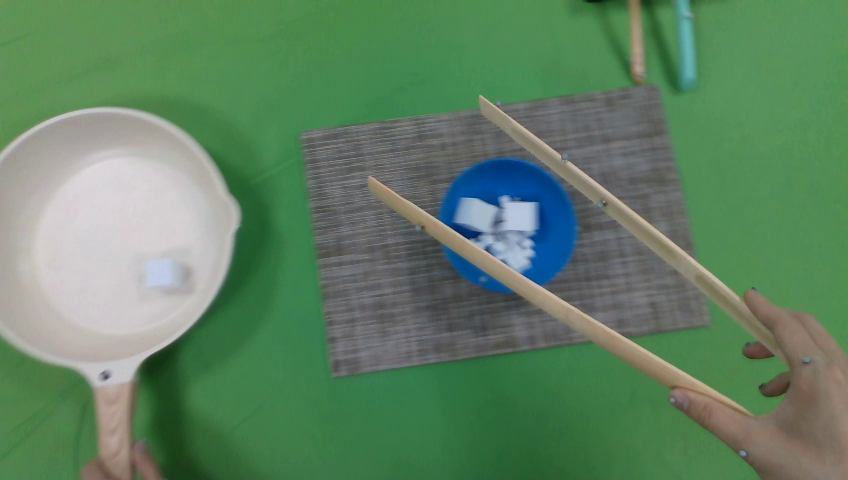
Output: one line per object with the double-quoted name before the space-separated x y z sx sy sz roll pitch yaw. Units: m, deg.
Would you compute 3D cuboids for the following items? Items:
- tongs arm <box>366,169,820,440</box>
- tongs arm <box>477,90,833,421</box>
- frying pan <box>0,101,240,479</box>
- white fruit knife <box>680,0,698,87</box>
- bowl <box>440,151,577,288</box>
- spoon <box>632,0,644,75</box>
"tongs arm" 0.096 0.035 0.467 0.384 0.028 0.028 32 60 26
"tongs arm" 0.153 -0.010 0.491 0.051 0.027 0.381 -34 58 -18
"frying pan" -0.340 0.090 0.661 0.307 0.103 0.484 -8 74 -1
"white fruit knife" 0.317 -0.294 0.734 0.016 0.027 0.207 -7 96 -6
"bowl" 0.091 -0.017 0.689 0.151 0.077 0.151 0 82 -1
"spoon" 0.261 -0.300 0.729 0.041 0.021 0.194 5 103 24
